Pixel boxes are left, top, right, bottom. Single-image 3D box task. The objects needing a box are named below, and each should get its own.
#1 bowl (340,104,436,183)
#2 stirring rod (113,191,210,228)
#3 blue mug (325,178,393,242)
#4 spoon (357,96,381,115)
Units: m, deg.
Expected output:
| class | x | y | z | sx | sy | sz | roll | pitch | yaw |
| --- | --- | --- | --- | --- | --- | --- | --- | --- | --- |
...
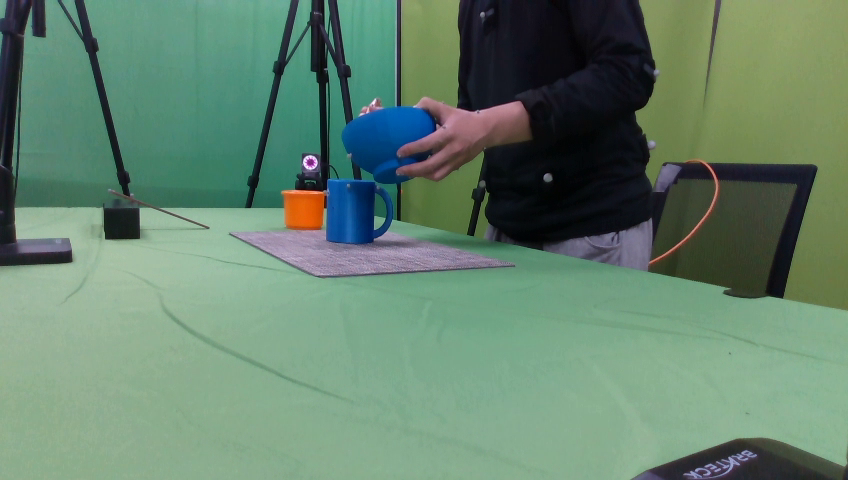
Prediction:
| class | x | y | z | sx | sy | sz | roll | pitch | yaw |
| --- | --- | --- | --- | --- | --- | --- | --- | --- | --- |
| bowl | -0.048 | -0.138 | 0.928 | 0.151 | 0.076 | 0.151 | -11 | -13 | -2 |
| stirring rod | -0.484 | -0.055 | 1.121 | 0.177 | 0.006 | 0.014 | 22 | -6 | -22 |
| blue mug | -0.111 | -0.052 | 1.034 | 0.116 | 0.106 | 0.082 | 3 | 7 | 7 |
| spoon | -0.098 | -0.229 | 1.078 | 0.021 | 0.042 | 0.193 | -15 | 26 | 10 |
